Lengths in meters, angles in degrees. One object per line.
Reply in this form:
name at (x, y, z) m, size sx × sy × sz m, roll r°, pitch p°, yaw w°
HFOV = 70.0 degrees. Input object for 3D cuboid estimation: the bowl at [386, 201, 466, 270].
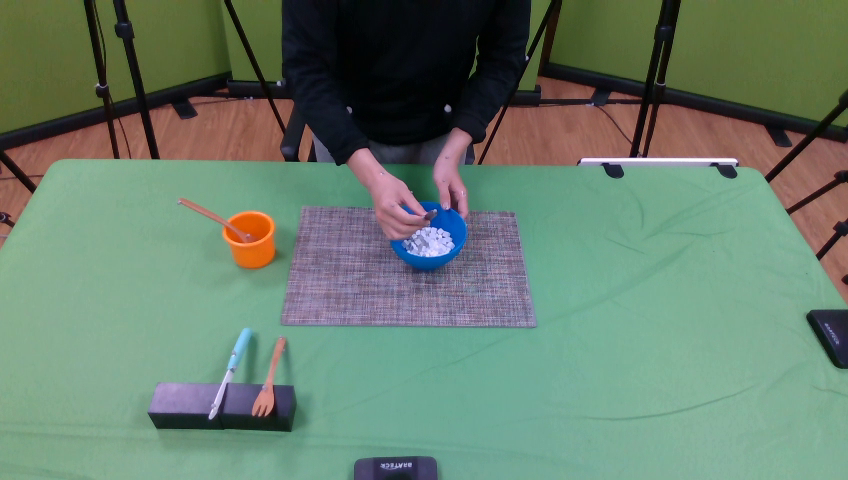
bowl at (0.002, 0.004, 1.150) m, size 0.151 × 0.077 × 0.150 m, roll 2°, pitch 46°, yaw -2°

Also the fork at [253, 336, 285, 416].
fork at (-0.235, 0.206, 0.938) m, size 0.028 × 0.019 × 0.206 m, roll -2°, pitch 26°, yaw -3°

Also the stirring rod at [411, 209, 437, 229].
stirring rod at (-0.002, -0.036, 1.086) m, size 0.014 × 0.176 × 0.006 m, roll 15°, pitch 79°, yaw -10°

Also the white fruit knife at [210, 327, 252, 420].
white fruit knife at (-0.298, 0.200, 0.937) m, size 0.016 × 0.027 × 0.206 m, roll 0°, pitch 30°, yaw 0°

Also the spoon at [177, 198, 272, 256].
spoon at (-0.361, -0.025, 1.106) m, size 0.021 × 0.195 × 0.041 m, roll -31°, pitch 37°, yaw 29°
